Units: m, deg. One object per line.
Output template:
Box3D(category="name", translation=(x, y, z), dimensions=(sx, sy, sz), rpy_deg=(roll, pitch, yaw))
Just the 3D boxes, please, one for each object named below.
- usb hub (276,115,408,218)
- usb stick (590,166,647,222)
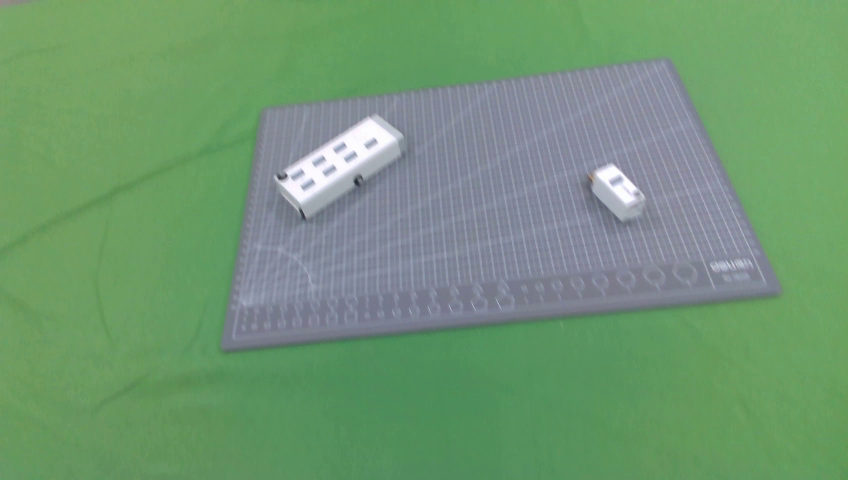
Box3D(category="usb hub", translation=(-0.079, -0.074, 0.591), dimensions=(0.125, 0.025, 0.049), rpy_deg=(-36, 56, -19))
Box3D(category="usb stick", translation=(0.169, -0.045, 0.534), dimensions=(0.021, 0.027, 0.058), rpy_deg=(-26, 51, -9))
